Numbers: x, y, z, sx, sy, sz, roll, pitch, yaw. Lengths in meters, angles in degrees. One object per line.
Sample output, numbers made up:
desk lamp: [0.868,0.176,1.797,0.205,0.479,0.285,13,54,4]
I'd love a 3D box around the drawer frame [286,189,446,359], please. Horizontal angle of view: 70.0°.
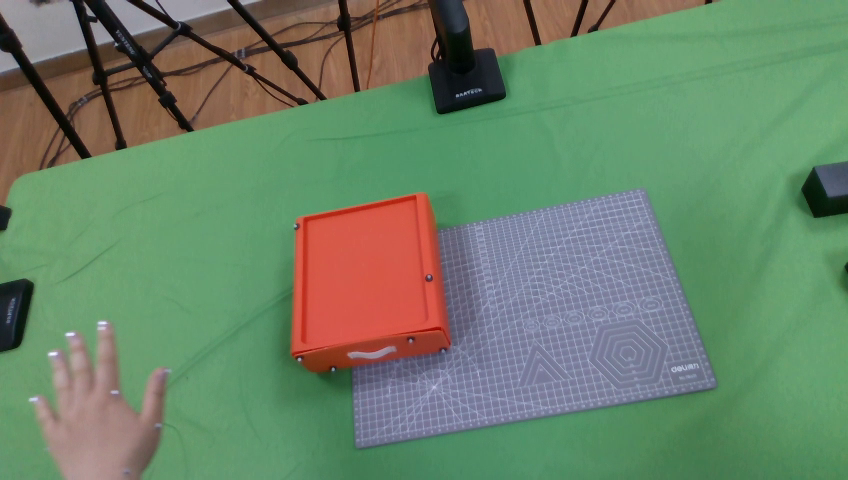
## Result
drawer frame: [-0.084,0.054,0.838,0.201,0.083,0.211,-12,58,7]

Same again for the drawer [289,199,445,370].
drawer: [-0.081,0.059,0.836,0.194,0.074,0.209,-11,58,7]

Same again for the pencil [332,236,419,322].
pencil: [-0.071,0.054,0.866,0.012,0.012,0.192,-42,63,-12]
